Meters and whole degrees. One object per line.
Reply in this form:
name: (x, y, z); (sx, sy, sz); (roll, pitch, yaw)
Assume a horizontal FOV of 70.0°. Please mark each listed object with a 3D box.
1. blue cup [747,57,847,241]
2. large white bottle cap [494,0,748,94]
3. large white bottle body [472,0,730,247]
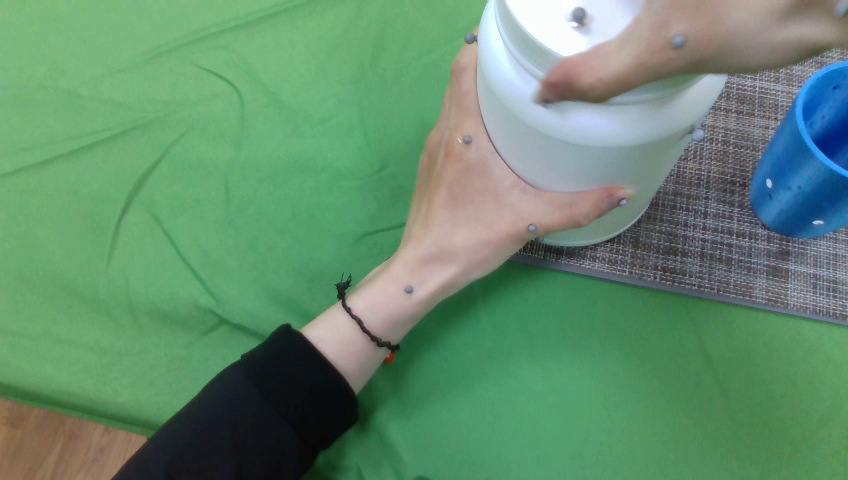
blue cup: (0.254, -0.046, 0.382); (0.092, 0.101, 0.092); (-1, 66, 3)
large white bottle cap: (0.090, -0.119, 0.283); (0.115, 0.018, 0.114); (-1, 67, 3)
large white bottle body: (0.095, -0.086, 0.361); (0.130, 0.186, 0.129); (-1, 67, 3)
